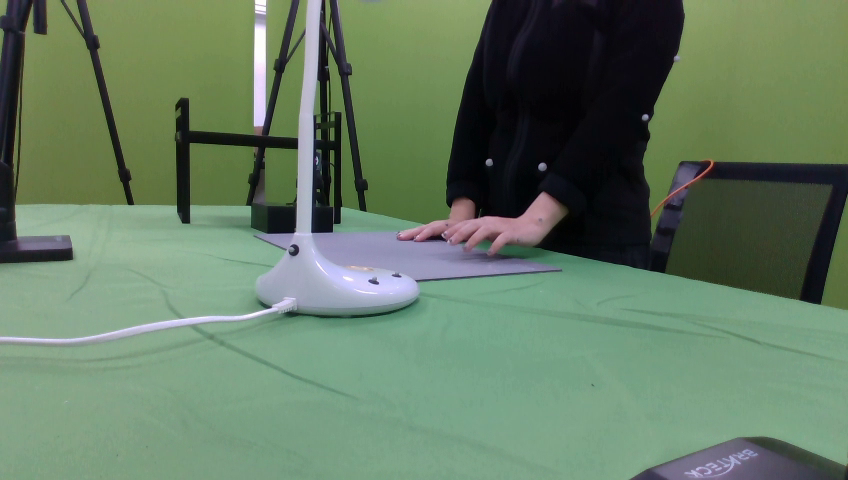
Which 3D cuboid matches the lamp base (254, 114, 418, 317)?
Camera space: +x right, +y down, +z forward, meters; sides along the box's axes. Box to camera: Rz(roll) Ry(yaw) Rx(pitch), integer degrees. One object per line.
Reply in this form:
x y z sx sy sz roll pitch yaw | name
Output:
-0.086 -0.027 0.576 0.160 0.180 0.179 4 10 16 | lamp base

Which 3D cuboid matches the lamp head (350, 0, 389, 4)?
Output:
-0.053 -0.313 0.597 0.112 0.112 0.123 6 -28 25 | lamp head
